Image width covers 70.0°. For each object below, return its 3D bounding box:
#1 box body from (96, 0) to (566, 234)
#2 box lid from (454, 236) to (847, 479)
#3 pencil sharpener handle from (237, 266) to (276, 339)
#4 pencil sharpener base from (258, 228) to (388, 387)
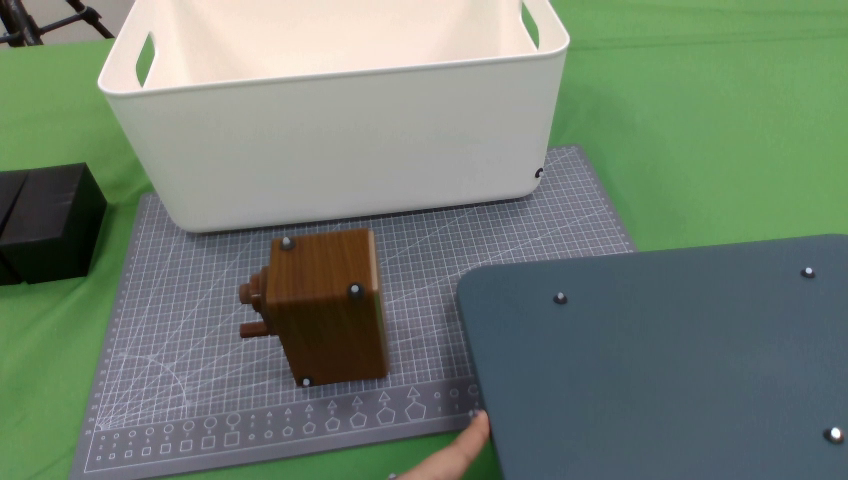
[{"bbox_3d":[-0.075,-0.154,0.592,0.364,0.162,0.251,-7,45,-4],"label":"box body"},{"bbox_3d":[0.214,0.083,0.417,0.372,0.015,0.260,-5,32,-5],"label":"box lid"},{"bbox_3d":[-0.120,0.047,0.418,0.031,0.068,0.035,-6,49,-3],"label":"pencil sharpener handle"},{"bbox_3d":[-0.069,0.051,0.430,0.077,0.108,0.060,-6,47,-3],"label":"pencil sharpener base"}]
